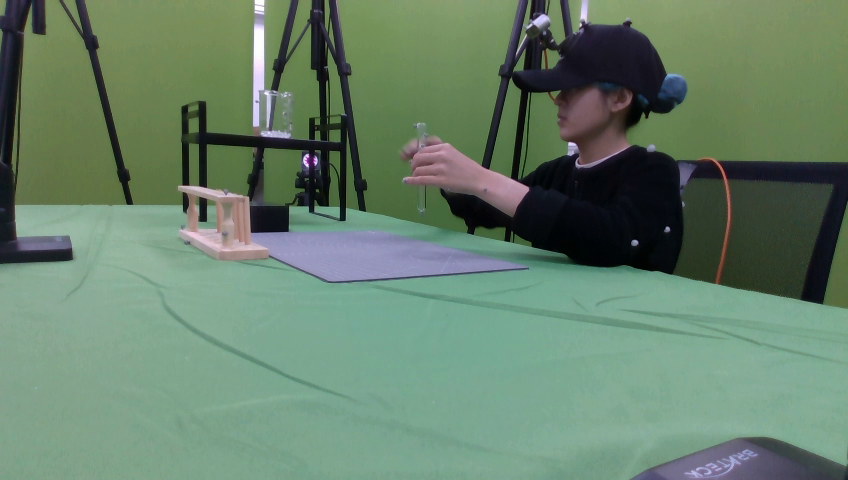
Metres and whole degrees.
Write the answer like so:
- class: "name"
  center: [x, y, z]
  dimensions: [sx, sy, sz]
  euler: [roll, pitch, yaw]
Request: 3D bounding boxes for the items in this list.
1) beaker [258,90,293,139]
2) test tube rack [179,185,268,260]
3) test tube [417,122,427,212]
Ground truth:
- class: "beaker"
  center: [-0.324, -0.274, 1.326]
  dimensions: [0.074, 0.100, 0.083]
  euler: [-2, 10, -33]
- class: "test tube rack"
  center: [-0.303, -0.031, 0.898]
  dimensions: [0.067, 0.085, 0.241]
  euler: [-2, 9, -33]
- class: "test tube"
  center: [-0.003, -0.122, 1.019]
  dimensions: [0.017, 0.150, 0.017]
  euler: [0, 10, 0]
